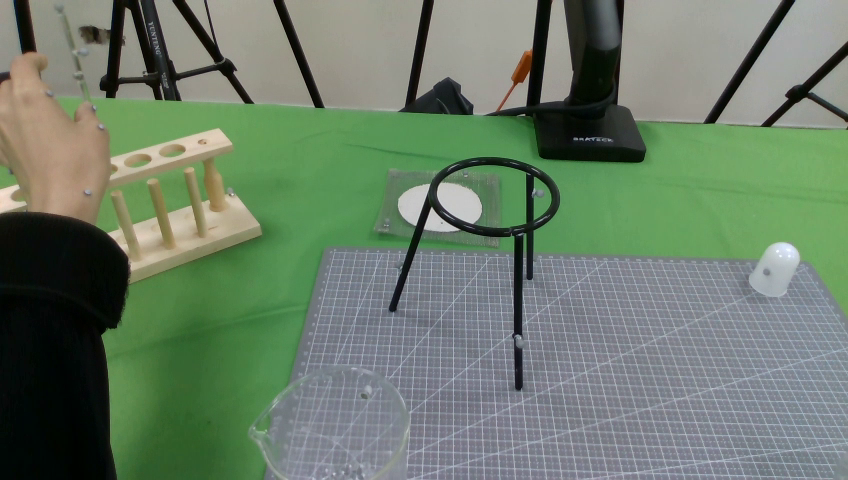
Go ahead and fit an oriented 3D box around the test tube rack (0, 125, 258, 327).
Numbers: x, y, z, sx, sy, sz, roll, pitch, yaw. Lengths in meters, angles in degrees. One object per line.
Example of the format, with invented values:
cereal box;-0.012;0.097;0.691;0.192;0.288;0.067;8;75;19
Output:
test tube rack;-0.274;-0.015;0.516;0.243;0.086;0.066;-24;46;-27

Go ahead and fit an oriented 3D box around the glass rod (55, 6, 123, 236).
glass rod;-0.272;-0.088;0.501;0.008;0.201;0.008;2;33;-1

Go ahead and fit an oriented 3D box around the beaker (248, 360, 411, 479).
beaker;-0.049;0.128;0.339;0.084;0.101;0.073;0;40;0

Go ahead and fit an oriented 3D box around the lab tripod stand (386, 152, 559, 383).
lab tripod stand;0.041;0.013;0.451;0.148;0.132;0.147;0;42;0

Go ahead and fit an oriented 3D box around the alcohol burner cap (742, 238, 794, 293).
alcohol burner cap;0.300;0.019;0.524;0.034;0.048;0.033;1;40;-1

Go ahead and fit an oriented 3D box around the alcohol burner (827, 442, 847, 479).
alcohol burner;0.272;0.133;0.331;0.078;0.120;0.077;1;38;-1

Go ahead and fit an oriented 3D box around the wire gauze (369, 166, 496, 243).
wire gauze;0.012;-0.042;0.620;0.125;0.011;0.120;4;39;4
